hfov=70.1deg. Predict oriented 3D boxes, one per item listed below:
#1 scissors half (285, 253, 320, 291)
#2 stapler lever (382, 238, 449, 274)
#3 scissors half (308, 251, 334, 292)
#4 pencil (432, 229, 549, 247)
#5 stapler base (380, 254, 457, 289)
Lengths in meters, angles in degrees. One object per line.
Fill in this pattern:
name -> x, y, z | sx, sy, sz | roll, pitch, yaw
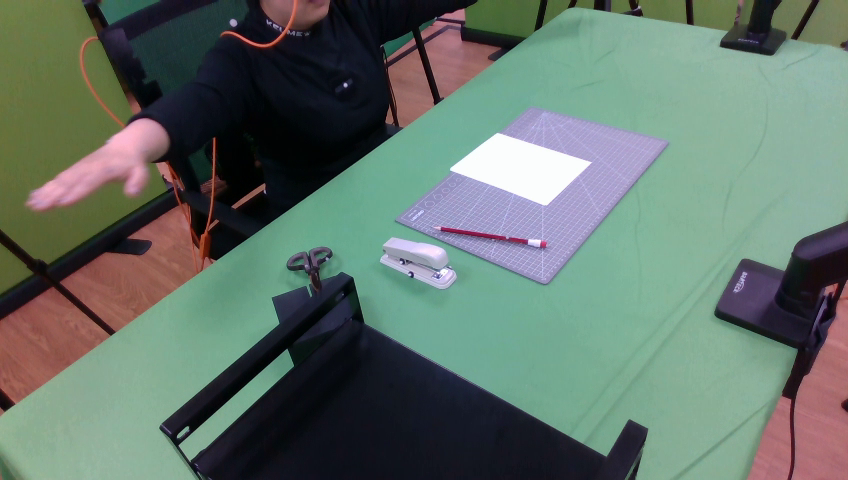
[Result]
scissors half -> -0.179, 0.049, 0.909 | 0.040, 0.013, 0.174 | -15, 19, -20
stapler lever -> -0.014, 0.018, 0.919 | 0.117, 0.040, 0.027 | 21, 45, 31
scissors half -> -0.159, 0.046, 0.913 | 0.040, 0.013, 0.174 | -4, 17, -5
pencil -> 0.103, -0.005, 0.970 | 0.193, 0.012, 0.012 | 7, 42, 18
stapler base -> -0.010, 0.037, 0.934 | 0.129, 0.024, 0.041 | 20, 45, 31
